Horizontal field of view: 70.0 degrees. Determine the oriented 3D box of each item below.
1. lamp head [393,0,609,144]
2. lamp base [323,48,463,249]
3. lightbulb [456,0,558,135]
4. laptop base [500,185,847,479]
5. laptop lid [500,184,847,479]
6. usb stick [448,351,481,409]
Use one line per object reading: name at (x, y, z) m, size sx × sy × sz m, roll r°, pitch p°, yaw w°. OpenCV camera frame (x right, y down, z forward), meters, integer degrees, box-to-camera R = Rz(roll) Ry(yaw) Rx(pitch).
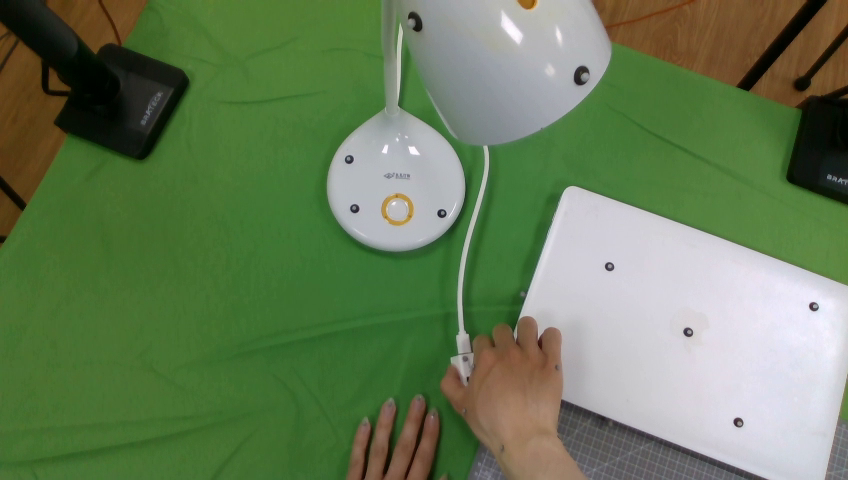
lamp head at (0.031, -0.136, 0.346) m, size 0.112 × 0.111 × 0.124 m, roll -49°, pitch 124°, yaw -12°
lamp base at (-0.036, -0.098, 0.626) m, size 0.161 × 0.181 × 0.178 m, roll -9°, pitch 73°, yaw -4°
lightbulb at (0.044, -0.111, 0.359) m, size 0.059 × 0.109 × 0.059 m, roll -16°, pitch 42°, yaw 15°
laptop base at (0.283, 0.100, 0.671) m, size 0.354 × 0.023 × 0.234 m, roll 21°, pitch 78°, yaw 3°
laptop lid at (0.282, 0.099, 0.659) m, size 0.356 × 0.013 × 0.241 m, roll 22°, pitch 77°, yaw 4°
usb stick at (0.044, 0.150, 0.643) m, size 0.021 × 0.027 × 0.059 m, roll -6°, pitch 79°, yaw -24°
